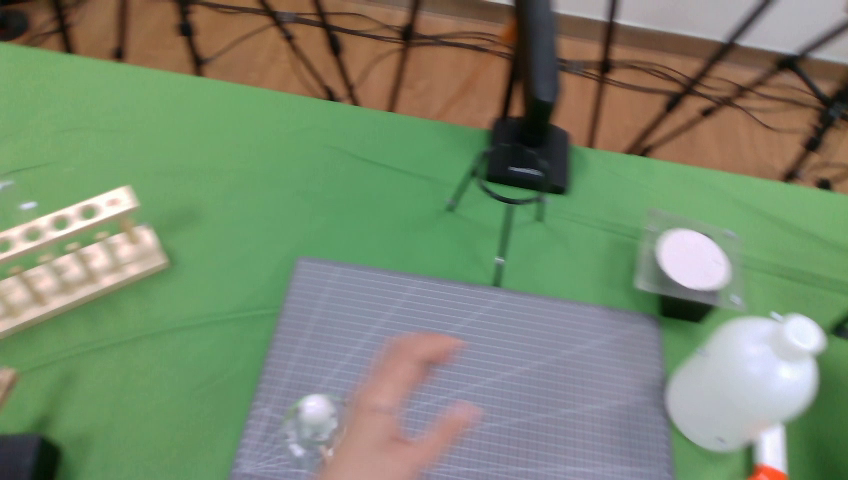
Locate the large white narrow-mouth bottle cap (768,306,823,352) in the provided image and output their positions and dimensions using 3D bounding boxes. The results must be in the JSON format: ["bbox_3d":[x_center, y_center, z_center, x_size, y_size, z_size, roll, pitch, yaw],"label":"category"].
[{"bbox_3d":[0.328,0.079,0.537,0.038,0.024,0.037,2,56,-3],"label":"large white narrow-mouth bottle cap"}]

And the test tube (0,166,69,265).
[{"bbox_3d":[-0.408,-0.020,0.638,0.017,0.151,0.017,4,52,-4],"label":"test tube"}]

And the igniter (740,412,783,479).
[{"bbox_3d":[0.358,0.240,0.636,0.057,0.025,0.274,24,57,-5],"label":"igniter"}]

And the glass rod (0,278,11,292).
[{"bbox_3d":[-0.467,-0.003,0.600,0.008,0.201,0.008,0,52,1],"label":"glass rod"}]

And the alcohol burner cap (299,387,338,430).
[{"bbox_3d":[-0.097,0.152,0.551,0.034,0.048,0.033,0,61,0],"label":"alcohol burner cap"}]

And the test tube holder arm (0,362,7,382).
[{"bbox_3d":[-0.420,0.192,0.539,0.013,0.015,0.177,12,56,2],"label":"test tube holder arm"}]

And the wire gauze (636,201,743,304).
[{"bbox_3d":[0.324,0.014,0.734,0.121,0.011,0.124,16,56,5],"label":"wire gauze"}]

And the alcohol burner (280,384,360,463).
[{"bbox_3d":[-0.100,0.171,0.582,0.078,0.120,0.077,4,56,-5],"label":"alcohol burner"}]

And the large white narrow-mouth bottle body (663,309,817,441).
[{"bbox_3d":[0.322,0.127,0.607,0.102,0.196,0.101,2,56,-3],"label":"large white narrow-mouth bottle body"}]

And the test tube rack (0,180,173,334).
[{"bbox_3d":[-0.418,0.028,0.665,0.242,0.086,0.066,-26,63,-21],"label":"test tube rack"}]

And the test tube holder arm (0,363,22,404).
[{"bbox_3d":[-0.406,0.157,0.564,0.010,0.015,0.087,13,56,3],"label":"test tube holder arm"}]

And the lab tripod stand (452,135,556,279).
[{"bbox_3d":[0.102,-0.047,0.737,0.148,0.132,0.147,3,58,-5],"label":"lab tripod stand"}]
